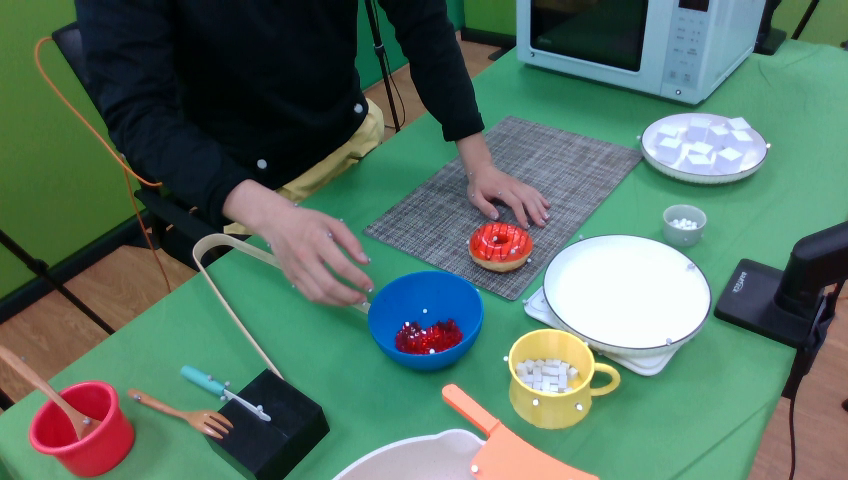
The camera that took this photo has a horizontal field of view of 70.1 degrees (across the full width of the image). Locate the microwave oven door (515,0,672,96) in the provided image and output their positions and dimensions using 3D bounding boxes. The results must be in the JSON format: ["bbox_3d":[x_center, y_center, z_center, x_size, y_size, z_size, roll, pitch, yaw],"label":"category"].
[{"bbox_3d":[0.343,-0.454,1.259,0.353,0.245,0.039,26,51,33],"label":"microwave oven door"}]

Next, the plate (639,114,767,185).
[{"bbox_3d":[0.489,-0.157,1.074,0.207,0.039,0.206,-4,40,4],"label":"plate"}]

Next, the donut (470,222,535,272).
[{"bbox_3d":[0.119,0.009,0.923,0.099,0.048,0.098,-4,38,3],"label":"donut"}]

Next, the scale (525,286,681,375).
[{"bbox_3d":[0.254,0.091,0.821,0.199,0.032,0.149,28,51,35],"label":"scale"}]

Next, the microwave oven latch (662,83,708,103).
[{"bbox_3d":[0.518,-0.296,1.204,0.078,0.029,0.030,28,52,35],"label":"microwave oven latch"}]

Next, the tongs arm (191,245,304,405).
[{"bbox_3d":[-0.268,0.112,0.884,0.028,0.028,0.384,-36,47,-18],"label":"tongs arm"}]

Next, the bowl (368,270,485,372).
[{"bbox_3d":[0.007,0.119,0.791,0.151,0.077,0.150,-5,40,4],"label":"bowl"}]

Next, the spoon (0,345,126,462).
[{"bbox_3d":[-0.434,0.192,0.720,0.194,0.021,0.042,47,53,-7],"label":"spoon"}]

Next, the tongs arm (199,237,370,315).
[{"bbox_3d":[-0.209,0.063,0.924,0.381,0.027,0.051,23,54,32],"label":"tongs arm"}]

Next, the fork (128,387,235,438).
[{"bbox_3d":[-0.305,0.208,0.744,0.206,0.019,0.028,3,41,36],"label":"fork"}]

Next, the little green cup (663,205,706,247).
[{"bbox_3d":[0.396,-0.020,0.926,0.061,0.039,0.061,-4,40,4],"label":"little green cup"}]

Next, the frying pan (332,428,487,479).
[{"bbox_3d":[-0.089,0.306,0.564,0.487,0.103,0.306,10,41,7],"label":"frying pan"}]

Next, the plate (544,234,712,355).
[{"bbox_3d":[0.262,0.072,0.792,0.209,0.038,0.208,-4,41,4],"label":"plate"}]

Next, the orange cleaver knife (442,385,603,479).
[{"bbox_3d":[0.086,0.219,0.612,0.209,0.012,0.077,28,49,35],"label":"orange cleaver knife"}]

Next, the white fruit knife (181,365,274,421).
[{"bbox_3d":[-0.245,0.187,0.747,0.205,0.027,0.016,9,40,41],"label":"white fruit knife"}]

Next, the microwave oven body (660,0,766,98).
[{"bbox_3d":[0.472,-0.513,1.317,0.438,0.261,0.327,26,51,34],"label":"microwave oven body"}]

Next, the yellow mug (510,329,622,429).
[{"bbox_3d":[0.168,0.164,0.721,0.130,0.064,0.099,0,40,8],"label":"yellow mug"}]
